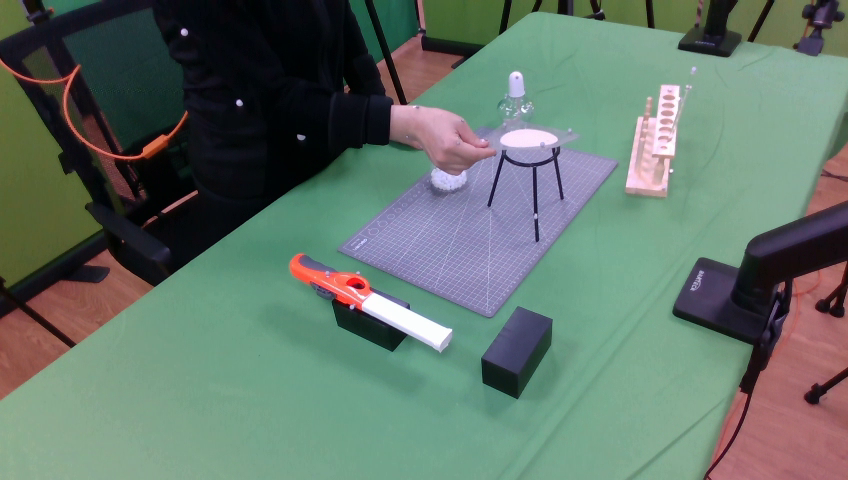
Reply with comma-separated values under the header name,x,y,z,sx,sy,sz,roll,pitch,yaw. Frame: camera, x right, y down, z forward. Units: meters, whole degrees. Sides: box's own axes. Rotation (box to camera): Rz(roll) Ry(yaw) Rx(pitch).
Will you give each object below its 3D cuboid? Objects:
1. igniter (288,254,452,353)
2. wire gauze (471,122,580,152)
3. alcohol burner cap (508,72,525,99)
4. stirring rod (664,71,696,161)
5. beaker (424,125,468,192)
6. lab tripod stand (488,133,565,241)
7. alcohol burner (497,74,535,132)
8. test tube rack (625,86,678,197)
name,x,y,z,sx,sy,sz,roll,pitch,yaw
igniter,-0.083,0.080,0.818,0.274,0.025,0.057,23,46,27
wire gauze,0.154,-0.153,0.905,0.120,0.011,0.125,15,31,32
alcohol burner cap,0.181,-0.306,1.186,0.034,0.048,0.033,-7,39,6
stirring rod,0.411,-0.196,0.982,0.014,0.177,0.006,11,50,13
beaker,0.043,-0.144,1.078,0.073,0.100,0.084,28,51,34
lab tripod stand,0.169,-0.092,0.972,0.148,0.132,0.147,-5,41,5
alcohol burner,0.184,-0.278,1.210,0.078,0.119,0.077,-3,42,3
test tube rack,0.412,-0.184,1.088,0.066,0.085,0.242,9,43,18
